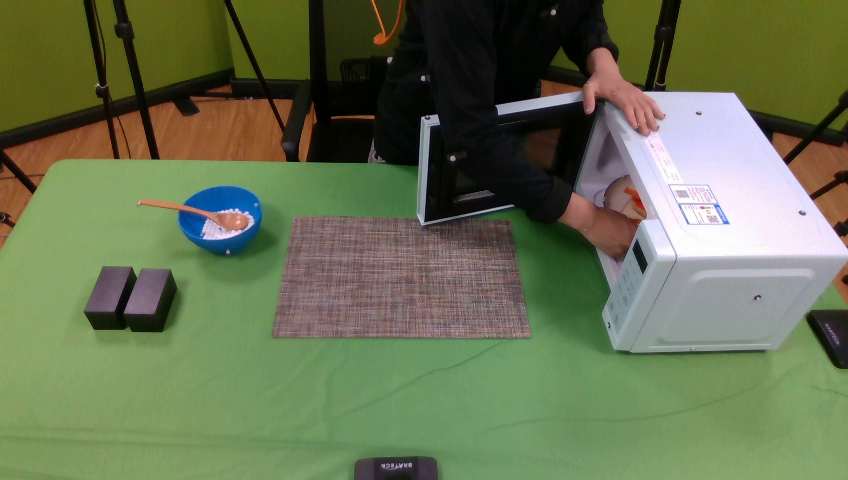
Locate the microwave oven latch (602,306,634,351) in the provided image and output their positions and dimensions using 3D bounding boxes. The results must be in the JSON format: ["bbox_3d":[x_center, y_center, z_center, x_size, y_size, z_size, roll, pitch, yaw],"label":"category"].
[{"bbox_3d":[0.332,0.153,1.044,0.030,0.029,0.078,-1,45,-4],"label":"microwave oven latch"}]

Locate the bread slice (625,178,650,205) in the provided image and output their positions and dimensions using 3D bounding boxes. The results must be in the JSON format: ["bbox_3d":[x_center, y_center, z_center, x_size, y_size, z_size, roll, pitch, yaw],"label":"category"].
[{"bbox_3d":[0.463,-0.090,1.142,0.131,0.019,0.105,34,51,29],"label":"bread slice"}]

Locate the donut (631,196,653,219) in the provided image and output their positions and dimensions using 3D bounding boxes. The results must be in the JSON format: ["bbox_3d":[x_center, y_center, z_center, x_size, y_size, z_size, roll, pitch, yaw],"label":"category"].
[{"bbox_3d":[0.448,-0.068,1.161,0.099,0.048,0.098,0,39,0],"label":"donut"}]

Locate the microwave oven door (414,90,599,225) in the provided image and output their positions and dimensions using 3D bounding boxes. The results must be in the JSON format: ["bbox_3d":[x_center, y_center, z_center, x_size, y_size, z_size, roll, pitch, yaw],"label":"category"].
[{"bbox_3d":[0.158,-0.161,1.195,0.356,0.245,0.039,-12,48,-16],"label":"microwave oven door"}]

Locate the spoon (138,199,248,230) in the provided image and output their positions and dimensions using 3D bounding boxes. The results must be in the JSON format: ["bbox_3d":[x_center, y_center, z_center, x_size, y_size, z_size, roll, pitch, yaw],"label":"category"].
[{"bbox_3d":[-0.431,-0.053,1.135,0.194,0.022,0.041,15,48,-20],"label":"spoon"}]

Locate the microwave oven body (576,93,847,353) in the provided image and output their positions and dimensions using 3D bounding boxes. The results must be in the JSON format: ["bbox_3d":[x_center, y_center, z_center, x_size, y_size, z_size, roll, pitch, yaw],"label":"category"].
[{"bbox_3d":[0.476,-0.041,1.109,0.326,0.261,0.438,-1,45,-4],"label":"microwave oven body"}]

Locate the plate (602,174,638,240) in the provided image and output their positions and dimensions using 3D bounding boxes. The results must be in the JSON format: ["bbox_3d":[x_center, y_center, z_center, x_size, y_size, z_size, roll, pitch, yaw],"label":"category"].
[{"bbox_3d":[0.452,-0.052,1.187,0.208,0.039,0.206,1,44,-1],"label":"plate"}]

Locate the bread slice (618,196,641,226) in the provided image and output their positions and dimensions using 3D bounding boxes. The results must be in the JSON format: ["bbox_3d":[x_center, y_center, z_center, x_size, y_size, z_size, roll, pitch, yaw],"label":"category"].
[{"bbox_3d":[0.459,-0.050,1.183,0.134,0.018,0.106,18,54,30],"label":"bread slice"}]

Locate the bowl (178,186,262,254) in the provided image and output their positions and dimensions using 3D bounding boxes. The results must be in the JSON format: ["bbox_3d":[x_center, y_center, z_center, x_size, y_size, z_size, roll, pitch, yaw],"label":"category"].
[{"bbox_3d":[-0.383,-0.026,1.157,0.151,0.077,0.150,2,46,-2],"label":"bowl"}]
